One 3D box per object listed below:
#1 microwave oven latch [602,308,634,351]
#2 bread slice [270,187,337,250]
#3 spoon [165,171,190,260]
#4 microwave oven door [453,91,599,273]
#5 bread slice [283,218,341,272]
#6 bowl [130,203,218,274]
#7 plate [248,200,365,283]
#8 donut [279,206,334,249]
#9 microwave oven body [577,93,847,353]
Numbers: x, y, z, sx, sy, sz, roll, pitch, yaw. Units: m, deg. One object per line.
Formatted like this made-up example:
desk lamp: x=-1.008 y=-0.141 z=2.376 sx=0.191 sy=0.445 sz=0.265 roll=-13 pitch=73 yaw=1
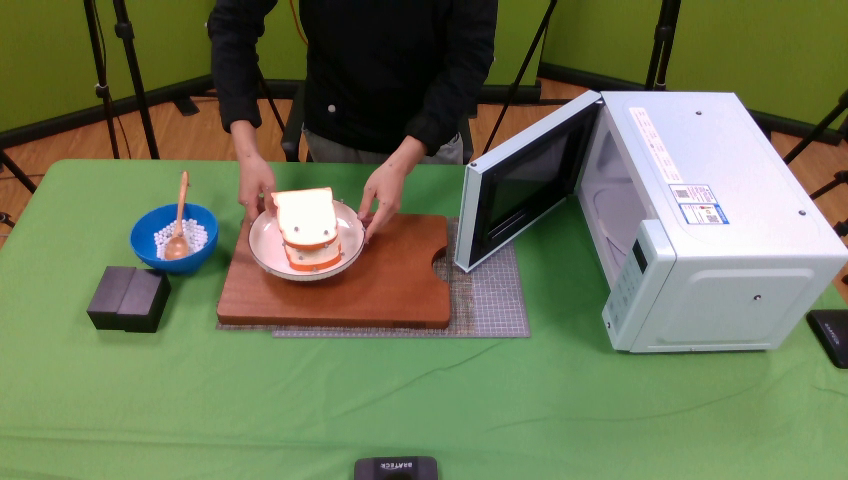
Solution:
microwave oven latch: x=0.332 y=0.153 z=1.044 sx=0.030 sy=0.029 sz=0.078 roll=-1 pitch=45 yaw=-4
bread slice: x=-0.206 y=-0.038 z=1.064 sx=0.107 sy=0.018 sz=0.133 roll=-10 pitch=53 yaw=-17
spoon: x=-0.452 y=-0.046 z=1.129 sx=0.041 sy=0.022 sz=0.193 roll=-1 pitch=69 yaw=-3
microwave oven door: x=0.198 y=-0.115 z=1.153 sx=0.356 sy=0.245 sz=0.039 roll=-34 pitch=57 yaw=-31
bread slice: x=-0.204 y=0.005 z=1.106 sx=0.105 sy=0.019 sz=0.130 roll=-10 pitch=46 yaw=-12
bowl: x=-0.451 y=0.010 z=1.116 sx=0.151 sy=0.077 sz=0.150 roll=3 pitch=45 yaw=-3
plate: x=-0.212 y=0.003 z=1.105 sx=0.208 sy=0.039 sz=0.206 roll=3 pitch=45 yaw=-3
donut: x=-0.210 y=-0.023 z=1.090 sx=0.099 sy=0.048 sz=0.098 roll=2 pitch=42 yaw=-1
microwave oven body: x=0.475 y=-0.041 z=1.109 sx=0.326 sy=0.261 sz=0.438 roll=-1 pitch=45 yaw=-4
